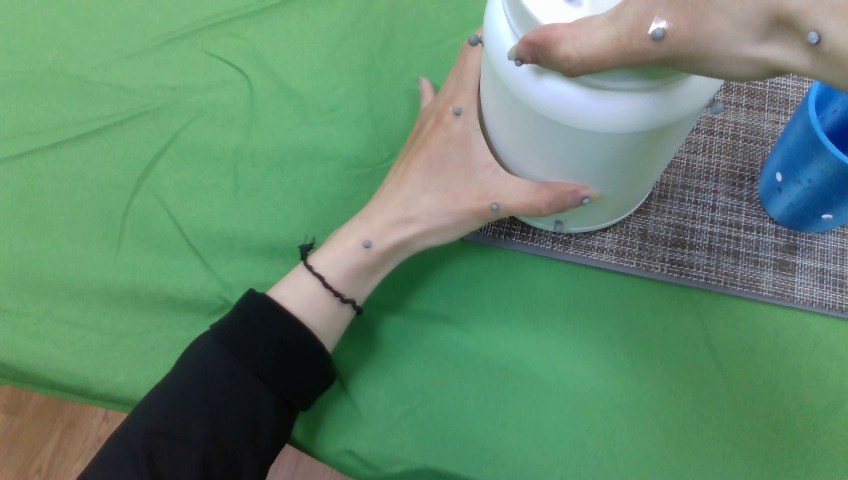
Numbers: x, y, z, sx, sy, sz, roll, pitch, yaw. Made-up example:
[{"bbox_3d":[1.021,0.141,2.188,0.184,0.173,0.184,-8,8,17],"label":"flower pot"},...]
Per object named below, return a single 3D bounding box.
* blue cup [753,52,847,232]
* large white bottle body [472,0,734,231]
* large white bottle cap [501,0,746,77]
[{"bbox_3d":[0.260,-0.052,0.383,0.092,0.101,0.092,-1,66,3],"label":"blue cup"},{"bbox_3d":[0.096,-0.096,0.361,0.130,0.186,0.129,-1,69,2],"label":"large white bottle body"},{"bbox_3d":[0.092,-0.127,0.283,0.115,0.018,0.114,-1,68,3],"label":"large white bottle cap"}]
